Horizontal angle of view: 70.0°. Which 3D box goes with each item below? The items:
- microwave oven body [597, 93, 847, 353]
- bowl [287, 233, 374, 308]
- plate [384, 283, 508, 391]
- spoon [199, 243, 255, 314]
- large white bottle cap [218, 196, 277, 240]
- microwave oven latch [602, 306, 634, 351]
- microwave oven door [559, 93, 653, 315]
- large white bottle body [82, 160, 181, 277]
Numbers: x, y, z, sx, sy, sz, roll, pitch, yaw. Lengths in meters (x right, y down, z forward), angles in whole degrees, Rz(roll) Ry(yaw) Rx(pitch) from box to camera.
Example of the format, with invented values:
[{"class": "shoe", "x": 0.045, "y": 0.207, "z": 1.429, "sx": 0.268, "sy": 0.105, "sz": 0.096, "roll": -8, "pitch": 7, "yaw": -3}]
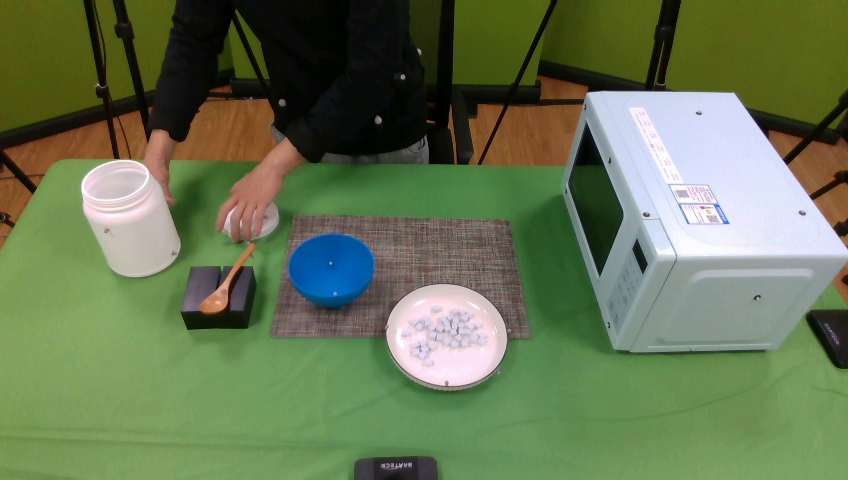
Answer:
[{"class": "microwave oven body", "x": 0.475, "y": -0.041, "z": 1.109, "sx": 0.326, "sy": 0.261, "sz": 0.438, "roll": -1, "pitch": 45, "yaw": -4}, {"class": "bowl", "x": -0.164, "y": 0.068, "z": 1.078, "sx": 0.151, "sy": 0.077, "sz": 0.150, "roll": 3, "pitch": 46, "yaw": -3}, {"class": "plate", "x": 0.036, "y": 0.166, "z": 1.029, "sx": 0.209, "sy": 0.038, "sz": 0.208, "roll": 2, "pitch": 49, "yaw": -2}, {"class": "spoon", "x": -0.333, "y": 0.063, "z": 1.051, "sx": 0.041, "sy": 0.022, "sz": 0.193, "roll": 6, "pitch": 41, "yaw": 9}, {"class": "large white bottle cap", "x": -0.354, "y": -0.045, "z": 1.220, "sx": 0.115, "sy": 0.018, "sz": 0.114, "roll": 2, "pitch": 45, "yaw": -2}, {"class": "microwave oven latch", "x": 0.332, "y": 0.153, "z": 1.044, "sx": 0.030, "sy": 0.029, "sz": 0.078, "roll": 0, "pitch": 45, "yaw": -4}, {"class": "microwave oven door", "x": 0.327, "y": -0.074, "z": 1.123, "sx": 0.039, "sy": 0.245, "sz": 0.353, "roll": -1, "pitch": 46, "yaw": -5}, {"class": "large white bottle body", "x": -0.521, "y": -0.038, "z": 1.082, "sx": 0.131, "sy": 0.185, "sz": 0.130, "roll": 2, "pitch": 46, "yaw": -2}]
